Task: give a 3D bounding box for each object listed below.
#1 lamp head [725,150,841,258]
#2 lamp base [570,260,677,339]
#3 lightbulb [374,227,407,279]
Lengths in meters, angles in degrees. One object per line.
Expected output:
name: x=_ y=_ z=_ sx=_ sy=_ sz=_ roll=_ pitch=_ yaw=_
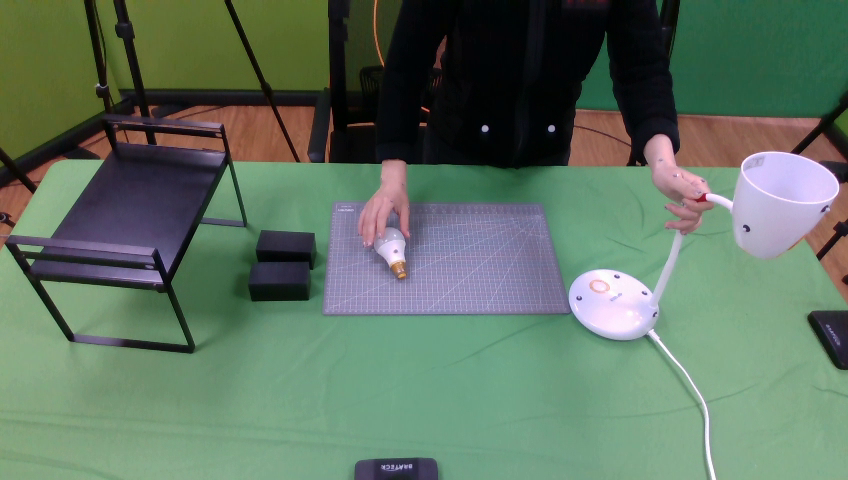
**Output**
lamp head: x=0.442 y=-0.040 z=0.774 sx=0.112 sy=0.123 sz=0.111 roll=1 pitch=45 yaw=-1
lamp base: x=0.359 y=0.067 z=1.047 sx=0.178 sy=0.181 sz=0.160 roll=37 pitch=55 yaw=25
lightbulb: x=-0.058 y=0.025 z=1.146 sx=0.059 sy=0.060 sz=0.107 roll=-14 pitch=64 yaw=-17
